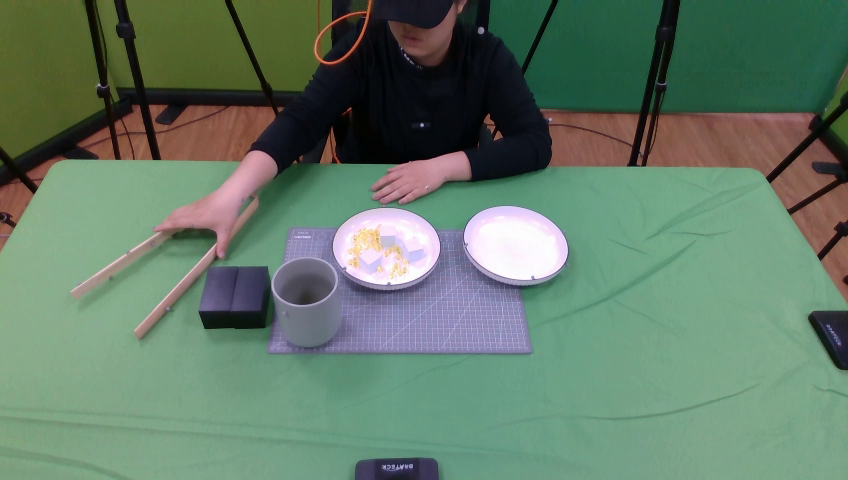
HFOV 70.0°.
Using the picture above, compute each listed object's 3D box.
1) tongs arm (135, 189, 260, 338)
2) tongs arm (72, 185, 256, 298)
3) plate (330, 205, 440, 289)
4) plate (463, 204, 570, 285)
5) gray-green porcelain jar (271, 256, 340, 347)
[{"bbox_3d":[-0.409,0.031,1.135,0.028,0.028,0.386,16,47,14],"label":"tongs arm"},{"bbox_3d":[-0.480,-0.003,1.157,0.050,0.026,0.384,28,49,21],"label":"tongs arm"},{"bbox_3d":[-0.074,0.017,1.160,0.208,0.039,0.206,2,46,-2],"label":"plate"},{"bbox_3d":[0.178,0.012,1.184,0.209,0.038,0.208,3,46,-3],"label":"plate"},{"bbox_3d":[-0.193,0.107,1.004,0.106,0.127,0.105,2,46,-2],"label":"gray-green porcelain jar"}]
